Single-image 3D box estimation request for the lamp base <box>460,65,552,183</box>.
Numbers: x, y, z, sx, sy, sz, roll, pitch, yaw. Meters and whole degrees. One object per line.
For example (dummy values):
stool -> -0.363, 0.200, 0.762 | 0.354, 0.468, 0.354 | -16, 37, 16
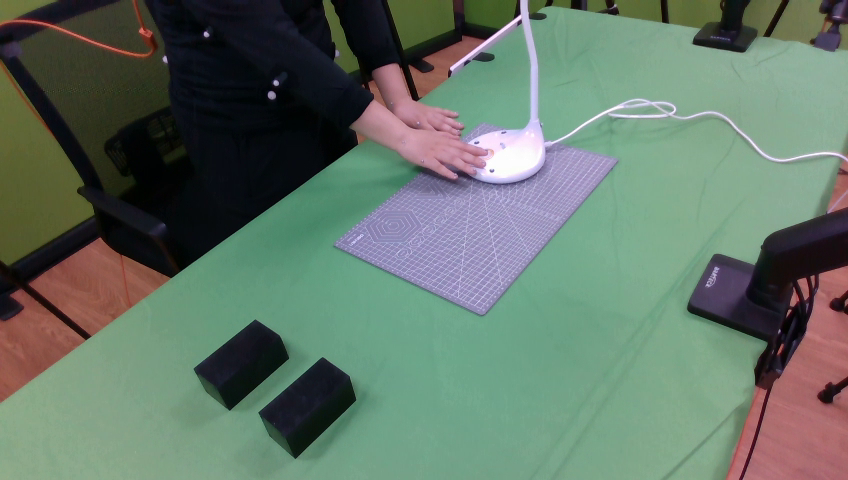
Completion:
lamp base -> 0.150, -0.218, 1.078 | 0.180, 0.181, 0.159 | -19, 42, -17
